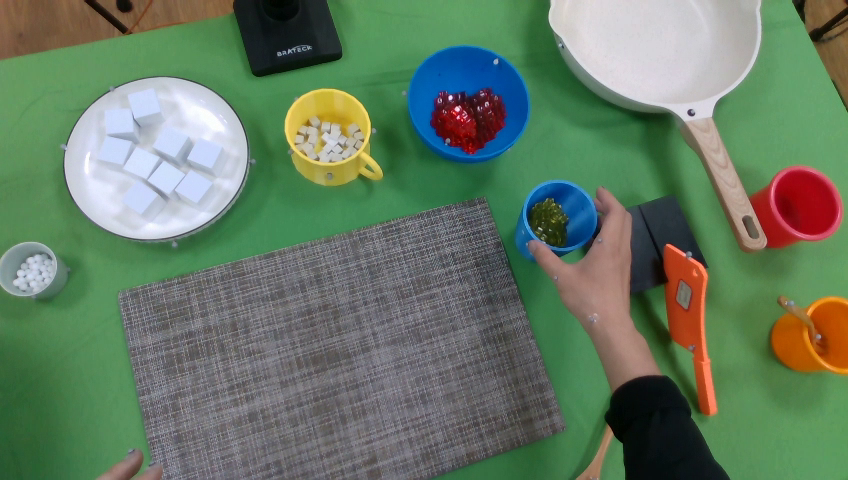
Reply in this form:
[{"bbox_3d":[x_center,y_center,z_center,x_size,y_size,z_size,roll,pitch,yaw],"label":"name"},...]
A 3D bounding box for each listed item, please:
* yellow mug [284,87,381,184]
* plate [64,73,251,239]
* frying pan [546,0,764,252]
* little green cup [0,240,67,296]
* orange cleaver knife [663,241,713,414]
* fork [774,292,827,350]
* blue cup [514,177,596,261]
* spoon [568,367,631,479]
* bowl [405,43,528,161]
[{"bbox_3d":[-0.105,-0.117,0.738,0.131,0.064,0.099,36,74,3],"label":"yellow mug"},{"bbox_3d":[-0.312,-0.098,0.723,0.208,0.039,0.206,2,75,-6],"label":"plate"},{"bbox_3d":[0.327,-0.208,0.793,0.307,0.103,0.484,-11,69,-8],"label":"frying pan"},{"bbox_3d":[-0.432,0.034,0.672,0.062,0.039,0.061,2,76,-7],"label":"little green cup"},{"bbox_3d":[0.312,0.105,0.721,0.012,0.076,0.212,-16,106,-10],"label":"orange cleaver knife"},{"bbox_3d":[0.440,0.095,0.703,0.209,0.018,0.028,29,68,-44],"label":"fork"},{"bbox_3d":[0.147,-0.016,0.721,0.093,0.100,0.092,1,73,-3],"label":"blue cup"},{"bbox_3d":[0.206,0.235,0.704,0.041,0.022,0.193,25,73,14],"label":"spoon"},{"bbox_3d":[0.048,-0.159,0.761,0.151,0.077,0.150,2,75,-6],"label":"bowl"}]
